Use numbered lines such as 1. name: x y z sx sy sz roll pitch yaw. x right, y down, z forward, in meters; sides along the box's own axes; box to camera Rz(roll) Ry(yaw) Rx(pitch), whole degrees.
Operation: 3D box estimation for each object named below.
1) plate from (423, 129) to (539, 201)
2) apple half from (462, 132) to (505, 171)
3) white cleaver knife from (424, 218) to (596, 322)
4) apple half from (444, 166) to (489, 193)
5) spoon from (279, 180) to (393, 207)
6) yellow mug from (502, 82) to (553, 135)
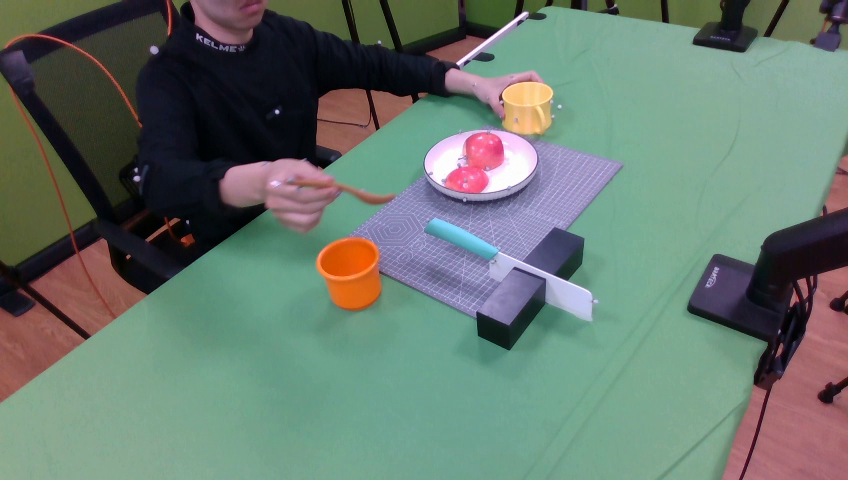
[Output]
1. plate: 0.103 -0.132 1.092 0.209 0.038 0.208 -4 40 4
2. apple half: 0.109 -0.169 1.110 0.075 0.053 0.080 -6 40 -2
3. white cleaver knife: 0.114 0.042 0.865 0.284 0.066 0.021 27 47 28
4. apple half: 0.074 -0.112 1.063 0.081 0.033 0.081 -6 39 5
5. spoon: -0.112 -0.063 0.794 0.041 0.021 0.195 -4 -8 39
6. yellow mug: 0.212 -0.256 1.203 0.100 0.064 0.130 -17 42 -9
